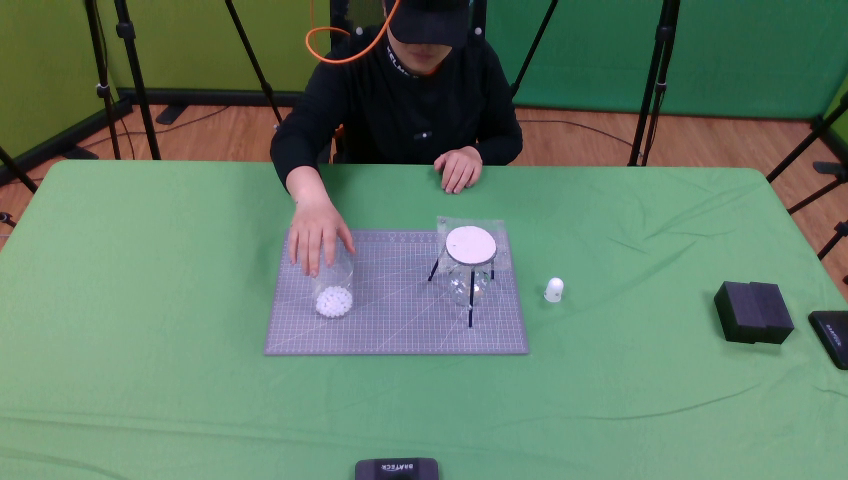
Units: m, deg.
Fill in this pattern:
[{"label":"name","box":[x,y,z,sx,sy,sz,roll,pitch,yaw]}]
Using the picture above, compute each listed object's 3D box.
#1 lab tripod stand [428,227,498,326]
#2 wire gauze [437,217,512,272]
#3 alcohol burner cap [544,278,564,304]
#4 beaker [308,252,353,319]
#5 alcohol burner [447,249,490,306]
[{"label":"lab tripod stand","box":[0.079,0.056,1.070,0.148,0.132,0.147,3,47,-3]},{"label":"wire gauze","box":[0.083,0.006,1.025,0.121,0.011,0.124,2,47,-4]},{"label":"alcohol burner cap","box":[0.241,0.091,1.117,0.034,0.048,0.033,2,45,-2]},{"label":"beaker","box":[-0.159,0.080,1.052,0.074,0.101,0.083,11,46,6]},{"label":"alcohol burner","box":[0.079,0.062,1.078,0.078,0.120,0.077,1,45,-1]}]
